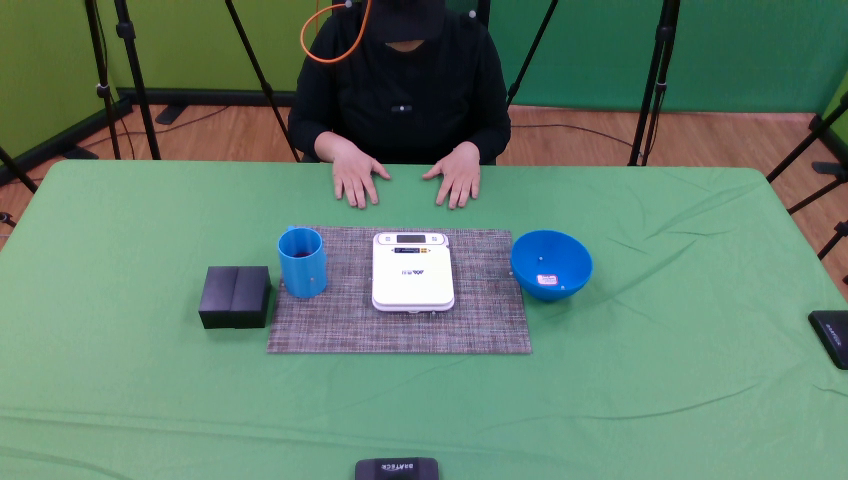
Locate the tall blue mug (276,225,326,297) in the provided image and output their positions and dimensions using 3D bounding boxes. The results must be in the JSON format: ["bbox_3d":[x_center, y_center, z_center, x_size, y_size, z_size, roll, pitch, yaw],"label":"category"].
[{"bbox_3d":[-0.228,0.032,1.083,0.107,0.108,0.077,30,52,23],"label":"tall blue mug"}]

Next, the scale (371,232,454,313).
[{"bbox_3d":[-0.023,0.051,1.134,0.149,0.032,0.199,1,46,-4],"label":"scale"}]

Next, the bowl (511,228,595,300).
[{"bbox_3d":[0.230,0.058,1.118,0.151,0.077,0.150,2,46,-2],"label":"bowl"}]
